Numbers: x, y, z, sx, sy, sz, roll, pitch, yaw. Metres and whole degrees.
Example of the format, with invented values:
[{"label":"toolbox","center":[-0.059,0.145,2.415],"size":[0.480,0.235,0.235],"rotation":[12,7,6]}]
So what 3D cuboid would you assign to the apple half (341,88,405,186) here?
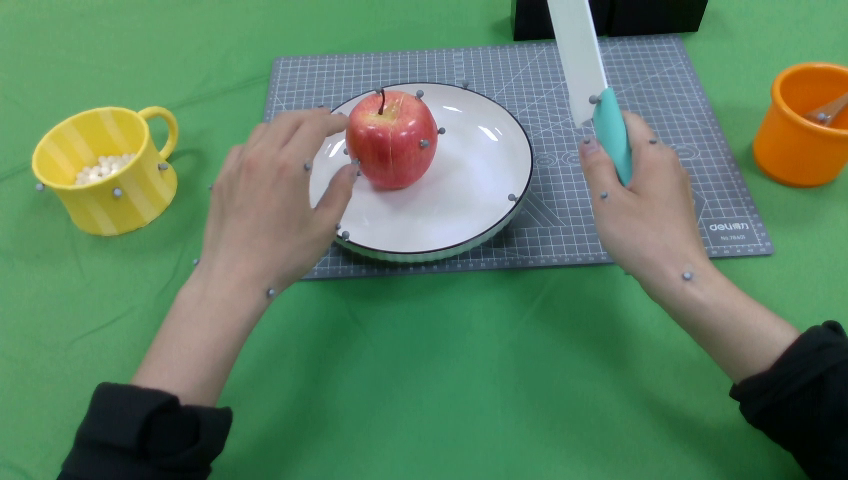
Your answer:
[{"label":"apple half","center":[-0.044,-0.090,0.533],"size":[0.053,0.075,0.080],"rotation":[5,57,12]}]

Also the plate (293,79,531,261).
[{"label":"plate","center":[-0.011,-0.063,0.543],"size":[0.209,0.038,0.207],"rotation":[-1,54,2]}]

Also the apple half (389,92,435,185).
[{"label":"apple half","center":[-0.006,-0.086,0.527],"size":[0.032,0.082,0.080],"rotation":[4,54,12]}]

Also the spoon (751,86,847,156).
[{"label":"spoon","center":[0.371,-0.132,0.506],"size":[0.022,0.194,0.041],"rotation":[25,42,-34]}]

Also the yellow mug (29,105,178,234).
[{"label":"yellow mug","center":[-0.278,-0.075,0.553],"size":[0.099,0.064,0.130],"rotation":[27,59,20]}]

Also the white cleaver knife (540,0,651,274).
[{"label":"white cleaver knife","center":[0.119,-0.115,0.447],"size":[0.021,0.066,0.286],"rotation":[-13,91,-9]}]
